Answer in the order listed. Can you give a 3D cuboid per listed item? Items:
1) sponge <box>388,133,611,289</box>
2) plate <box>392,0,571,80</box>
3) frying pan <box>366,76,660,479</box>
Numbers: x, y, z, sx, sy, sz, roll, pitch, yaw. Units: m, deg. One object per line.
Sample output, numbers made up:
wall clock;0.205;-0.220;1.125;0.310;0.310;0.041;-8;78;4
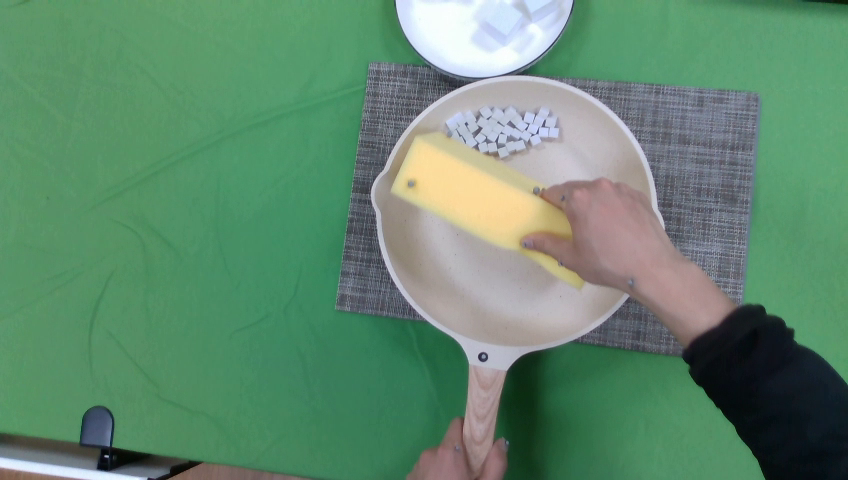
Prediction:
sponge;0.079;-0.036;0.618;0.207;0.118;0.061;26;106;3
plate;0.067;-0.285;0.712;0.207;0.039;0.207;-1;85;6
frying pan;0.072;0.071;0.639;0.306;0.103;0.485;10;77;8
